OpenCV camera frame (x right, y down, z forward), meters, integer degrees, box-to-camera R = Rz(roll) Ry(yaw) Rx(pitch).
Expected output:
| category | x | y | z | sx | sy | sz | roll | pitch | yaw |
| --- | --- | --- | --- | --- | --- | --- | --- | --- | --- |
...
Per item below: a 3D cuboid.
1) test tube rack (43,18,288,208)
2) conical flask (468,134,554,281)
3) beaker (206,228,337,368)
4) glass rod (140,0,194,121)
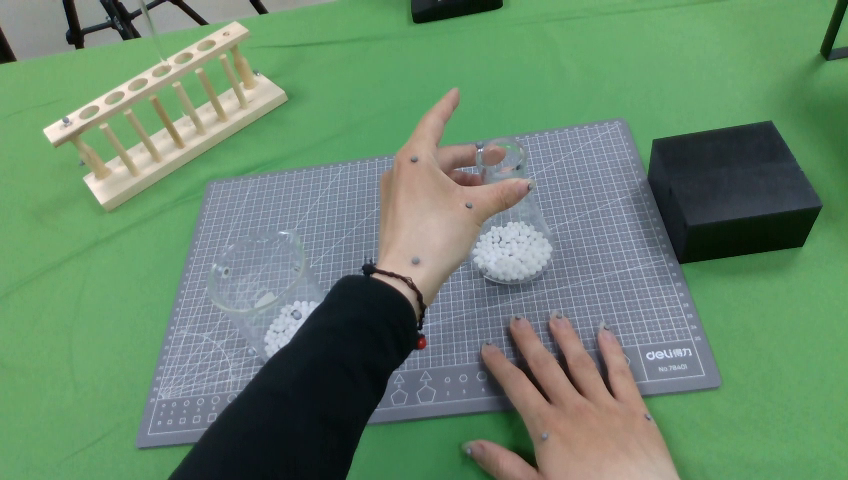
| category | x | y | z | sx | sy | sz | roll | pitch | yaw |
| --- | --- | --- | --- | --- | --- | --- | --- | --- | --- |
| test tube rack | -0.285 | -0.148 | 0.690 | 0.242 | 0.086 | 0.066 | -38 | 54 | -18 |
| conical flask | 0.067 | -0.028 | 0.488 | 0.075 | 0.123 | 0.074 | -6 | 51 | 8 |
| beaker | -0.114 | 0.048 | 0.482 | 0.073 | 0.101 | 0.083 | 18 | 57 | 24 |
| glass rod | -0.287 | -0.216 | 0.659 | 0.008 | 0.201 | 0.008 | -4 | 43 | 4 |
